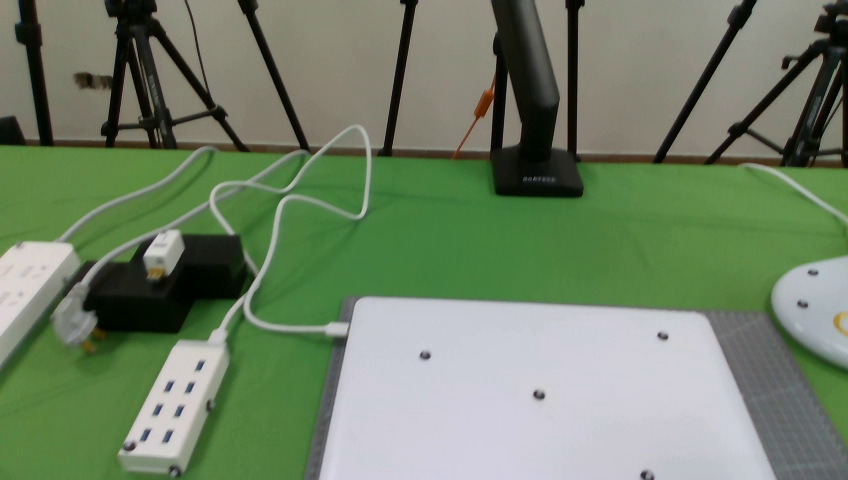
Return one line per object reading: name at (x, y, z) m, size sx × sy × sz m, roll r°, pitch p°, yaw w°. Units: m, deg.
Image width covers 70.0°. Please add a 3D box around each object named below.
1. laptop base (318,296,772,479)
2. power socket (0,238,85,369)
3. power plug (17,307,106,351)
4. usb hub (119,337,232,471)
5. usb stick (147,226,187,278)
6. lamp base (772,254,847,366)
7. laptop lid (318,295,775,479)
laptop base at (0.099, 0.144, 0.531) m, size 0.354 × 0.023 × 0.233 m, roll 3°, pitch 40°, yaw 2°
power socket at (-0.420, 0.071, 0.598) m, size 0.072 × 0.033 × 0.224 m, roll 4°, pitch 37°, yaw 2°
power plug at (-0.339, 0.087, 0.576) m, size 0.072 × 0.053 × 0.035 m, roll -16°, pitch 34°, yaw 31°
usb hub at (-0.210, 0.137, 0.524) m, size 0.049 × 0.025 × 0.124 m, roll 3°, pitch 37°, yaw 3°
usb stick at (-0.257, 0.013, 0.602) m, size 0.021 × 0.027 × 0.058 m, roll 3°, pitch 39°, yaw -1°
lamp base at (0.453, 0.010, 0.586) m, size 0.159 × 0.182 × 0.179 m, roll 22°, pitch 40°, yaw 26°
laptop lid at (0.099, 0.136, 0.522) m, size 0.356 × 0.013 × 0.239 m, roll 4°, pitch 39°, yaw 3°
